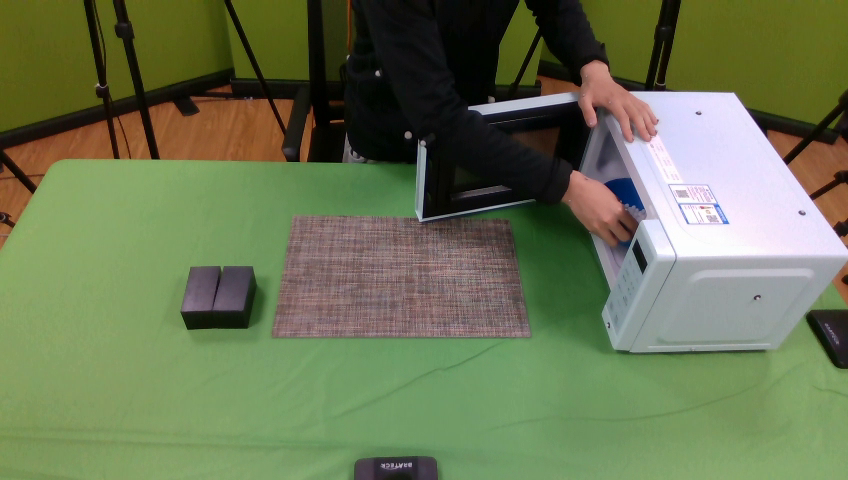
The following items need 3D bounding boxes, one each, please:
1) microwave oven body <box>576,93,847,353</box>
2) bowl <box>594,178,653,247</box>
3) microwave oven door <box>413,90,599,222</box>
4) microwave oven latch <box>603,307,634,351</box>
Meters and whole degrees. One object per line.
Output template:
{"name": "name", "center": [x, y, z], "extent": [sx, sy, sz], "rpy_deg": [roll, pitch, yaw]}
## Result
{"name": "microwave oven body", "center": [0.475, -0.041, 1.109], "extent": [0.326, 0.261, 0.438], "rpy_deg": [-1, 45, -4]}
{"name": "bowl", "center": [0.386, -0.040, 1.126], "extent": [0.151, 0.077, 0.150], "rpy_deg": [-1, 42, 1]}
{"name": "microwave oven door", "center": [0.157, -0.165, 1.197], "extent": [0.356, 0.245, 0.039], "rpy_deg": [-11, 48, -15]}
{"name": "microwave oven latch", "center": [0.332, 0.153, 1.044], "extent": [0.030, 0.029, 0.078], "rpy_deg": [0, 45, -3]}
